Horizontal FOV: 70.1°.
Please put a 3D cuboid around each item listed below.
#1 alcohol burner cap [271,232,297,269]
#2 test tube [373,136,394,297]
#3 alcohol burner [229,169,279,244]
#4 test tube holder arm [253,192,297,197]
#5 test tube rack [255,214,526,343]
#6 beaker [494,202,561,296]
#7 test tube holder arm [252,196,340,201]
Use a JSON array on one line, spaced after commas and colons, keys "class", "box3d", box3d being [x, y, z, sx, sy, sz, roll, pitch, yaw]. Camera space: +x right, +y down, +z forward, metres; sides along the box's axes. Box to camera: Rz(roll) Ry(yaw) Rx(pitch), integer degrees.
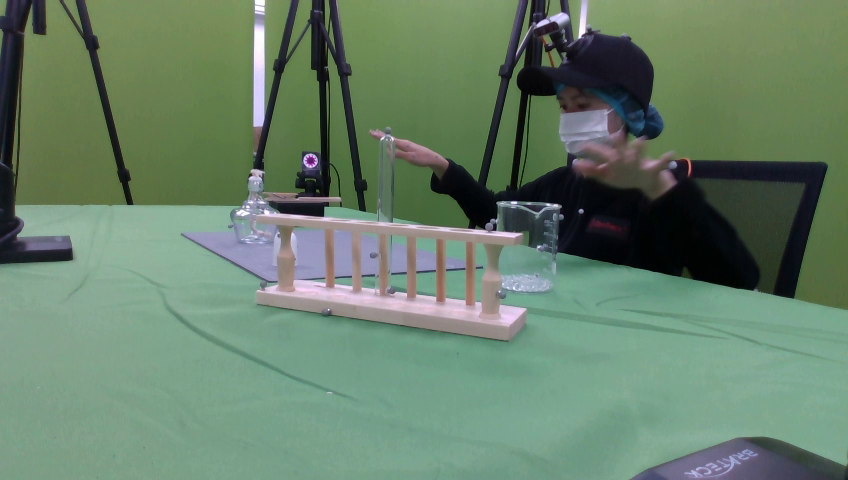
[{"class": "alcohol burner cap", "box3d": [-0.175, 0.012, 0.760, 0.034, 0.048, 0.034, 2, 8, 0]}, {"class": "test tube", "box3d": [-0.038, -0.021, 0.564, 0.017, 0.150, 0.017, 2, 6, 0]}, {"class": "alcohol burner", "box3d": [-0.268, -0.053, 0.958, 0.078, 0.119, 0.078, 2, 5, 0]}, {"class": "test tube holder arm", "box3d": [-0.301, -0.092, 1.223, 0.088, 0.010, 0.015, 0, 7, -25]}, {"class": "test tube rack", "box3d": [-0.032, 0.027, 0.546, 0.241, 0.085, 0.067, 5, 7, 21]}, {"class": "beaker", "box3d": [0.116, 0.009, 0.687, 0.074, 0.100, 0.084, 2, 8, -4]}, {"class": "test tube holder arm", "box3d": [-0.260, -0.086, 1.242, 0.179, 0.013, 0.015, -1, 7, -25]}]
